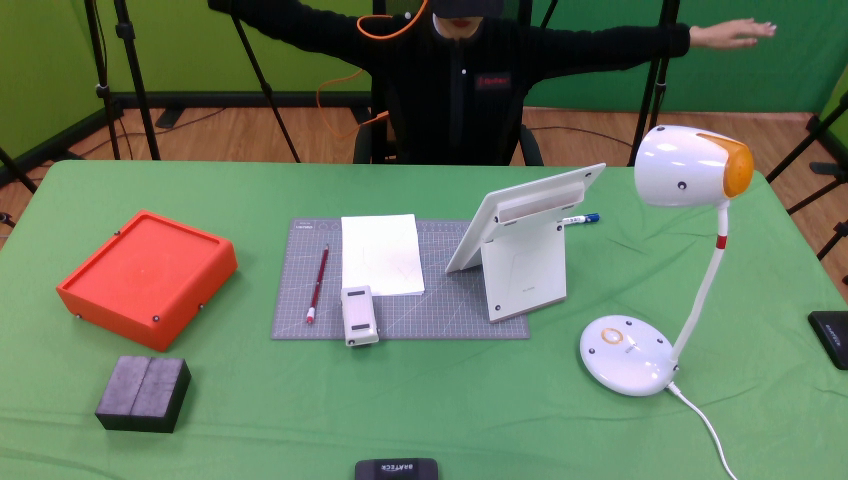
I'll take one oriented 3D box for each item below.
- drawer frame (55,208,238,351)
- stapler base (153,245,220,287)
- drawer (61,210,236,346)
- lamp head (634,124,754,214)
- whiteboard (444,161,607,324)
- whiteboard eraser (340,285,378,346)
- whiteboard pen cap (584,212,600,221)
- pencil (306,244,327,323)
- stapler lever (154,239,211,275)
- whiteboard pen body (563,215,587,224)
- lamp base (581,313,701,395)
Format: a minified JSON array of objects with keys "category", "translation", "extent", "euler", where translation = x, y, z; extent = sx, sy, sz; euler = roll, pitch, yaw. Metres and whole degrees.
[{"category":"drawer frame","translation":[-0.474,0.062,1.059],"extent":[0.201,0.083,0.213],"euler":[18,48,12]},{"category":"stapler base","translation":[-0.436,0.042,1.108],"extent":[0.130,0.024,0.041],"euler":[23,49,15]},{"category":"drawer","translation":[-0.474,0.061,1.063],"extent":[0.194,0.073,0.211],"euler":[19,49,13]},{"category":"lamp head","translation":[0.351,-0.089,0.775],"extent":[0.112,0.113,0.122],"euler":[-30,30,-28]},{"category":"whiteboard","translation":[0.186,0.025,1.029],"extent":[0.217,0.306,0.143],"euler":[-15,68,-18]},{"category":"whiteboard eraser","translation":[-0.113,0.131,1.044],"extent":[0.056,0.042,0.112],"euler":[-5,47,-10]},{"category":"whiteboard pen cap","translation":[0.351,-0.049,1.271],"extent":[0.033,0.018,0.018],"euler":[-6,47,-11]},{"category":"pencil","translation":[-0.196,0.076,1.115],"extent":[0.012,0.012,0.193],"euler":[4,44,0]},{"category":"stapler lever","translation":[-0.436,0.027,1.091],"extent":[0.118,0.040,0.027],"euler":[24,50,14]},{"category":"whiteboard pen body","translation":[0.291,-0.040,1.261],"extent":[0.141,0.017,0.017],"euler":[-6,47,-11]},{"category":"lamp base","translation":[0.361,0.144,0.973],"extent":[0.178,0.181,0.160],"euler":[34,53,23]}]
